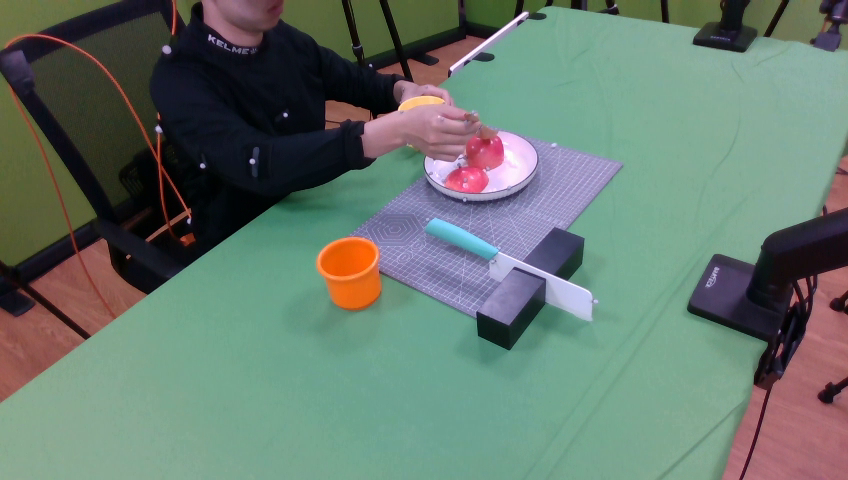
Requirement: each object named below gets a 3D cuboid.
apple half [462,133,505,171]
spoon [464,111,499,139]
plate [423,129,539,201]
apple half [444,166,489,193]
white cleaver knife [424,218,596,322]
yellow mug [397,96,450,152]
[{"bbox_3d":[0.110,-0.170,1.111,0.075,0.053,0.080,-6,40,-2],"label":"apple half"},{"bbox_3d":[0.090,-0.191,0.996,0.041,0.021,0.195,-7,-5,17],"label":"spoon"},{"bbox_3d":[0.103,-0.132,1.092,0.209,0.038,0.208,-4,40,4],"label":"plate"},{"bbox_3d":[0.074,-0.113,1.063,0.081,0.033,0.081,-6,39,5],"label":"apple half"},{"bbox_3d":[0.114,0.042,0.865,0.284,0.066,0.021,27,47,28],"label":"white cleaver knife"},{"bbox_3d":[-0.004,-0.226,1.200,0.099,0.064,0.130,5,43,15],"label":"yellow mug"}]
